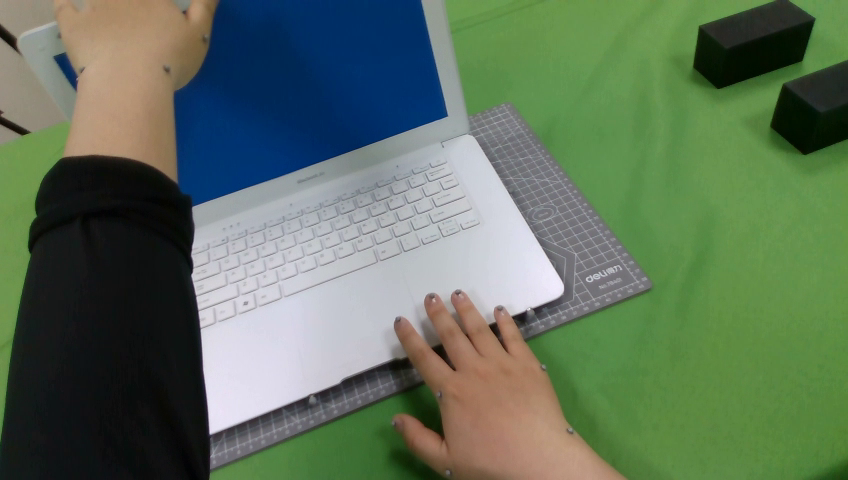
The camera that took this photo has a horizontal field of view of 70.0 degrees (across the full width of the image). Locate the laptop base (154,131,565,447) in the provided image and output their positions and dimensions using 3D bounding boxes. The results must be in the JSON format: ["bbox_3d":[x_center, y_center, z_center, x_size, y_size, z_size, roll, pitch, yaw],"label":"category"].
[{"bbox_3d":[-0.077,0.028,0.569,0.354,0.023,0.233,-21,51,-4],"label":"laptop base"}]

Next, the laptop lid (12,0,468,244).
[{"bbox_3d":[-0.142,-0.139,0.569,0.357,0.244,0.013,-22,41,-3],"label":"laptop lid"}]
